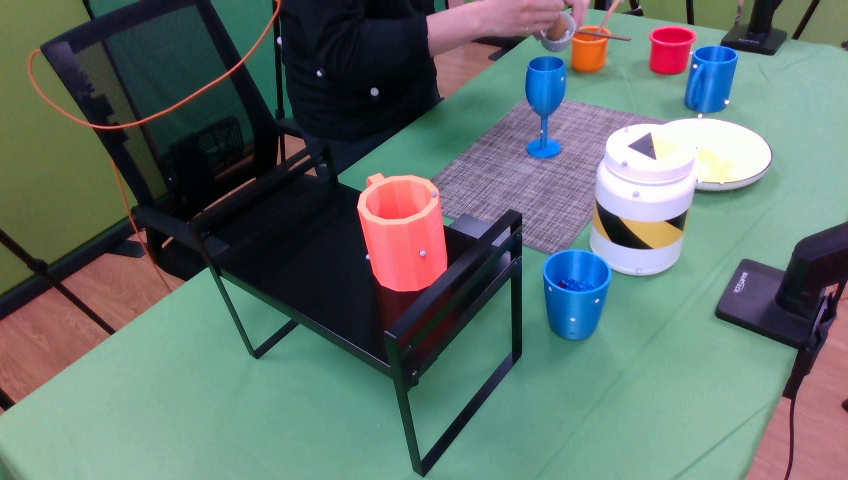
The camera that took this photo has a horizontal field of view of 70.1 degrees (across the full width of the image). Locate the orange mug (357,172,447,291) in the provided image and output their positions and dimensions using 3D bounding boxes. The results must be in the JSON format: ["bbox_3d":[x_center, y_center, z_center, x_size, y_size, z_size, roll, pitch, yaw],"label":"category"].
[{"bbox_3d":[-0.030,-0.018,0.669,0.084,0.101,0.125,-23,47,-16],"label":"orange mug"}]

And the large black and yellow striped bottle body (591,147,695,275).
[{"bbox_3d":[0.313,-0.056,0.870,0.131,0.185,0.130,-4,40,4],"label":"large black and yellow striped bottle body"}]

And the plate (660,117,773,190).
[{"bbox_3d":[0.495,-0.148,1.063,0.209,0.038,0.208,-5,40,4],"label":"plate"}]

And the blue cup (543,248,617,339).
[{"bbox_3d":[0.199,0.076,0.797,0.092,0.100,0.092,-4,39,4],"label":"blue cup"}]

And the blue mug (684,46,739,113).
[{"bbox_3d":[0.556,-0.310,1.190,0.117,0.106,0.081,-32,46,-25],"label":"blue mug"}]

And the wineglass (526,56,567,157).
[{"bbox_3d":[0.222,-0.241,1.102,0.074,0.173,0.073,-5,41,5],"label":"wineglass"}]

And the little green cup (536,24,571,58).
[{"bbox_3d":[0.233,-0.356,1.078,0.061,0.039,0.061,-15,41,14],"label":"little green cup"}]

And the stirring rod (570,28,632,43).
[{"bbox_3d":[0.381,-0.462,1.356,0.175,0.006,0.014,23,48,29],"label":"stirring rod"}]

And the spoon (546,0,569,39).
[{"bbox_3d":[0.213,-0.383,0.983,0.041,0.195,0.021,-20,68,9],"label":"spoon"}]

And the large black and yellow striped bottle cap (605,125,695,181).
[{"bbox_3d":[0.304,-0.120,0.817,0.115,0.019,0.114,-3,41,3],"label":"large black and yellow striped bottle cap"}]

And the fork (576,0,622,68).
[{"bbox_3d":[0.409,-0.484,1.380,0.028,0.019,0.207,37,101,46],"label":"fork"}]
